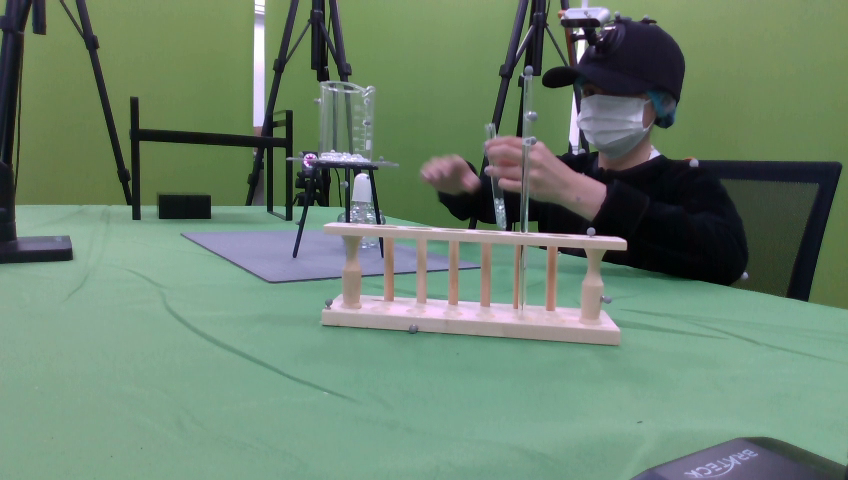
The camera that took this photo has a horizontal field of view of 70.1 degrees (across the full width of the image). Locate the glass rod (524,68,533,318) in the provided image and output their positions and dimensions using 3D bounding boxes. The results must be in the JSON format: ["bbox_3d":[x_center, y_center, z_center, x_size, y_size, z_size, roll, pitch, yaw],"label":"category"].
[{"bbox_3d":[0.082,-0.031,0.473,0.008,0.199,0.008,-2,14,1],"label":"glass rod"}]

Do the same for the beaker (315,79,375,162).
[{"bbox_3d":[-0.100,-0.151,0.778,0.074,0.100,0.083,-3,8,-38],"label":"beaker"}]

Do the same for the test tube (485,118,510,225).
[{"bbox_3d":[0.103,-0.095,0.843,0.017,0.150,0.017,-9,9,2],"label":"test tube"}]

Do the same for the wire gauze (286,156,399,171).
[{"bbox_3d":[-0.102,-0.103,0.787,0.121,0.011,0.125,5,4,6],"label":"wire gauze"}]

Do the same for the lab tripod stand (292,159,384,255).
[{"bbox_3d":[-0.105,-0.039,0.797,0.148,0.131,0.148,2,5,0],"label":"lab tripod stand"}]

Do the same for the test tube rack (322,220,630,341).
[{"bbox_3d":[0.041,0.029,0.512,0.242,0.085,0.067,3,7,5],"label":"test tube rack"}]

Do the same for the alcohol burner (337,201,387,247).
[{"bbox_3d":[-0.098,-0.049,0.954,0.078,0.119,0.078,0,6,0],"label":"alcohol burner"}]

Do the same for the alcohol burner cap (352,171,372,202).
[{"bbox_3d":[-0.096,-0.084,0.951,0.034,0.048,0.034,6,5,0],"label":"alcohol burner cap"}]
